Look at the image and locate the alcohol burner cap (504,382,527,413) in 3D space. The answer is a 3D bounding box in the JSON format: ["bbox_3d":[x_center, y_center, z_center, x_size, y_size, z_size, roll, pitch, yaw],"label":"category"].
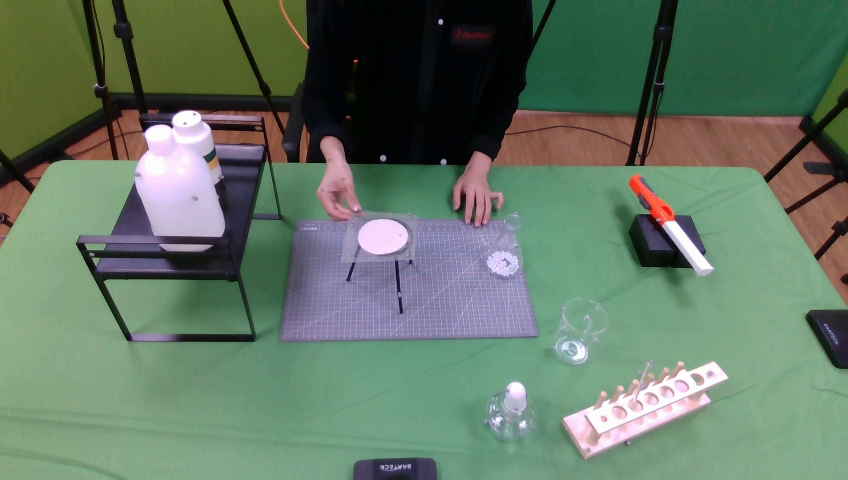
[{"bbox_3d":[0.132,0.225,0.877,0.034,0.048,0.033,-4,47,5],"label":"alcohol burner cap"}]

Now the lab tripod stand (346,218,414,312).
[{"bbox_3d":[-0.070,0.037,1.075,0.148,0.132,0.147,1,48,-1],"label":"lab tripod stand"}]

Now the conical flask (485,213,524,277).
[{"bbox_3d":[0.157,0.007,1.129,0.075,0.122,0.075,2,46,-2],"label":"conical flask"}]

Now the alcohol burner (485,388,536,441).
[{"bbox_3d":[0.131,0.249,0.904,0.078,0.120,0.077,1,48,-1],"label":"alcohol burner"}]

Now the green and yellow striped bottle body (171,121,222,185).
[{"bbox_3d":[-0.375,-0.149,0.995,0.063,0.120,0.063,2,46,-2],"label":"green and yellow striped bottle body"}]

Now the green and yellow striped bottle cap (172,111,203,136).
[{"bbox_3d":[-0.374,-0.185,0.958,0.045,0.020,0.045,4,46,-4],"label":"green and yellow striped bottle cap"}]

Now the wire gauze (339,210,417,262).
[{"bbox_3d":[-0.075,-0.007,1.024,0.121,0.011,0.124,2,44,2],"label":"wire gauze"}]

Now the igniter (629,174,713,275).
[{"bbox_3d":[0.481,-0.040,1.202,0.057,0.025,0.274,-2,46,-21],"label":"igniter"}]

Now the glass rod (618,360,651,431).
[{"bbox_3d":[0.298,0.227,0.865,0.008,0.201,0.008,-1,48,2],"label":"glass rod"}]

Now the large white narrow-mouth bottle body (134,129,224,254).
[{"bbox_3d":[-0.358,-0.075,0.875,0.102,0.195,0.101,1,48,-1],"label":"large white narrow-mouth bottle body"}]

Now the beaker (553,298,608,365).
[{"bbox_3d":[0.260,0.154,1.015,0.073,0.101,0.084,37,54,27],"label":"beaker"}]

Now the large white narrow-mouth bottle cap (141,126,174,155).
[{"bbox_3d":[-0.356,-0.133,0.811,0.038,0.024,0.037,2,48,-2],"label":"large white narrow-mouth bottle cap"}]

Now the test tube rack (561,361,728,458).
[{"bbox_3d":[0.341,0.248,0.940,0.243,0.085,0.066,-15,49,-18],"label":"test tube rack"}]
